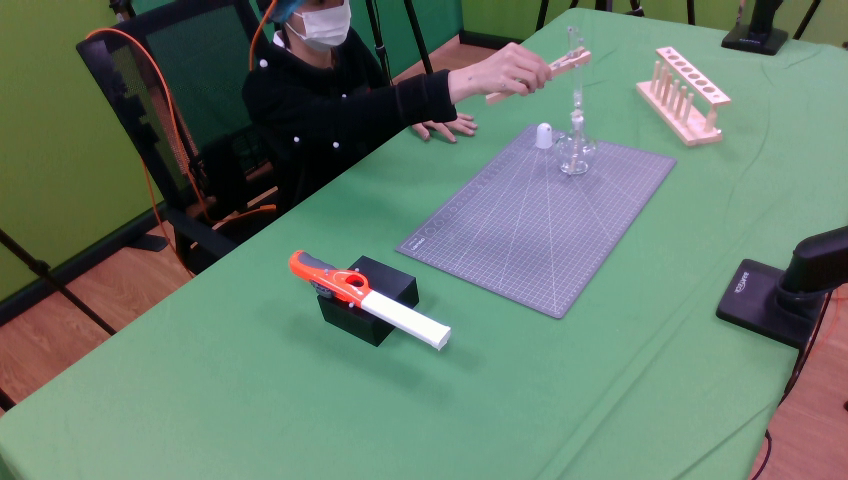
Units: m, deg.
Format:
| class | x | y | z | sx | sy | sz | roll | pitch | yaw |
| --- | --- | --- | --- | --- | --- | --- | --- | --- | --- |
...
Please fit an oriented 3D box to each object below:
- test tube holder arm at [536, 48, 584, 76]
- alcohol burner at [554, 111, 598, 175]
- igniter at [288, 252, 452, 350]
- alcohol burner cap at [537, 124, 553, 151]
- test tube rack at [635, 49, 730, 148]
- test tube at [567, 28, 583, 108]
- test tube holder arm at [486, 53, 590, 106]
| class | x | y | z | sx | sy | sz | roll | pitch | yaw |
| --- | --- | --- | --- | --- | --- | --- | --- | --- | --- |
| test tube holder arm | 0.214 | -0.274 | 0.948 | 0.088 | 0.015 | 0.010 | -32 | 50 | -11 |
| alcohol burner | 0.270 | -0.175 | 1.066 | 0.078 | 0.119 | 0.077 | -4 | 42 | 4 |
| igniter | -0.084 | 0.077 | 0.821 | 0.274 | 0.025 | 0.057 | 23 | 48 | 27 |
| alcohol burner cap | 0.232 | -0.199 | 1.158 | 0.034 | 0.048 | 0.033 | -5 | 40 | 4 |
| test tube rack | 0.497 | -0.283 | 1.185 | 0.067 | 0.085 | 0.240 | -10 | 40 | -2 |
| test tube | 0.241 | -0.269 | 0.964 | 0.017 | 0.151 | 0.017 | -9 | 51 | 12 |
| test tube holder arm | 0.177 | -0.250 | 0.938 | 0.179 | 0.015 | 0.013 | -26 | 49 | -6 |
